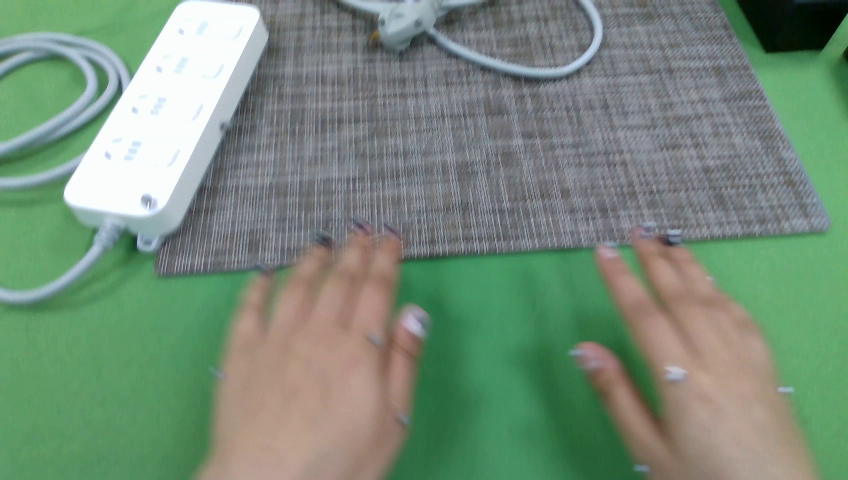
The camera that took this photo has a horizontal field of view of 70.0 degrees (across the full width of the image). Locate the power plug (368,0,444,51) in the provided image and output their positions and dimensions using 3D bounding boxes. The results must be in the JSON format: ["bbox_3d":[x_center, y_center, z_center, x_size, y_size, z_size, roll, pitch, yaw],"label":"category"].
[{"bbox_3d":[-0.011,-0.182,0.497,0.052,0.035,0.072,9,41,35],"label":"power plug"}]

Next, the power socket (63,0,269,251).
[{"bbox_3d":[-0.179,-0.098,0.442,0.072,0.033,0.225,9,60,6],"label":"power socket"}]
